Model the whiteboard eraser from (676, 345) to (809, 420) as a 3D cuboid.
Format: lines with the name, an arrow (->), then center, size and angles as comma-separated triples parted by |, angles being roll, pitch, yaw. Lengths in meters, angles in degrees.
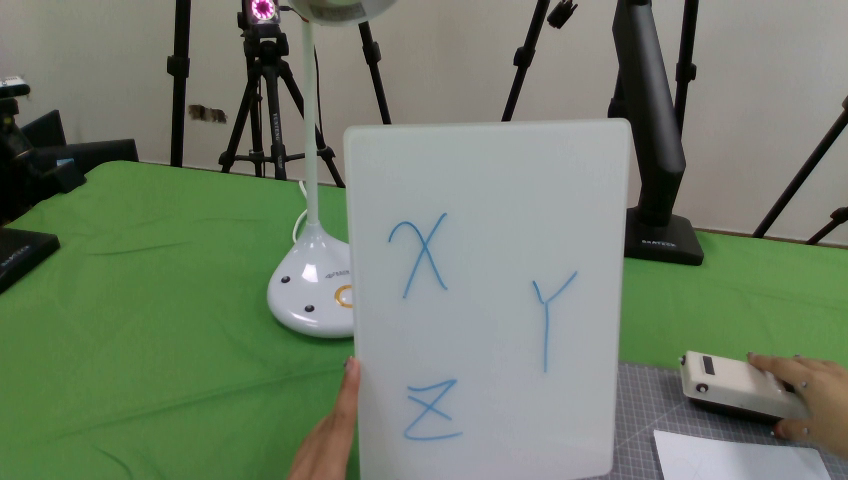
whiteboard eraser -> 0.310, 0.140, 0.597 | 0.112, 0.042, 0.055 | 12, 30, 12

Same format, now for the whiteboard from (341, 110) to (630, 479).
whiteboard -> 0.041, 0.044, 0.533 | 0.218, 0.306, 0.143 | -4, 14, -10

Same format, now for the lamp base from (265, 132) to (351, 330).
lamp base -> -0.108, -0.019, 0.678 | 0.161, 0.181, 0.177 | -21, 38, -33

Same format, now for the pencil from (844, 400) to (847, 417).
pencil -> 0.398, 0.213, 0.525 | 0.012, 0.012, 0.193 | 11, 35, 11

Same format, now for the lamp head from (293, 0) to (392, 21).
lamp head -> -0.076, -0.254, 0.484 | 0.113, 0.113, 0.122 | -14, 61, -25
